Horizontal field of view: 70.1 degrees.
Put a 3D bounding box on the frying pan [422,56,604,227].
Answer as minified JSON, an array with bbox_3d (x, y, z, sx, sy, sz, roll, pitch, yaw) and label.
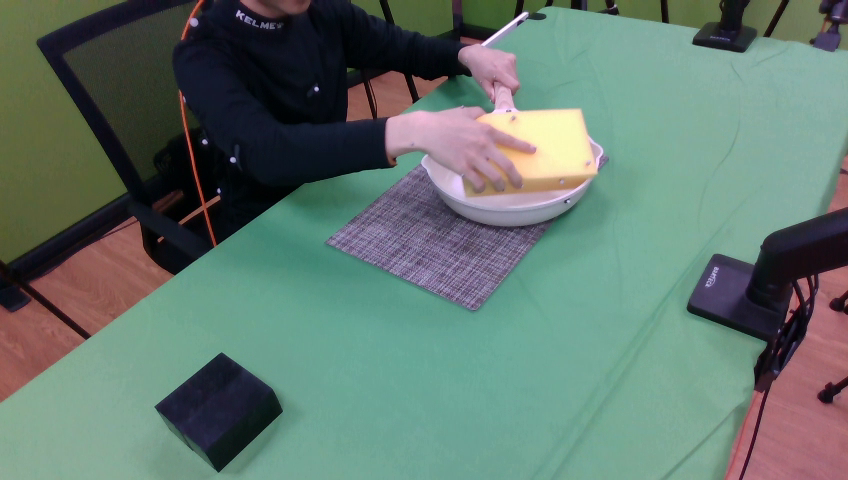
[{"bbox_3d":[0.155,-0.199,1.111,0.307,0.103,0.485,-2,49,5],"label":"frying pan"}]

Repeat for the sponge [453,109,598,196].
[{"bbox_3d":[0.159,-0.139,0.956,0.208,0.061,0.117,-6,72,-17],"label":"sponge"}]
